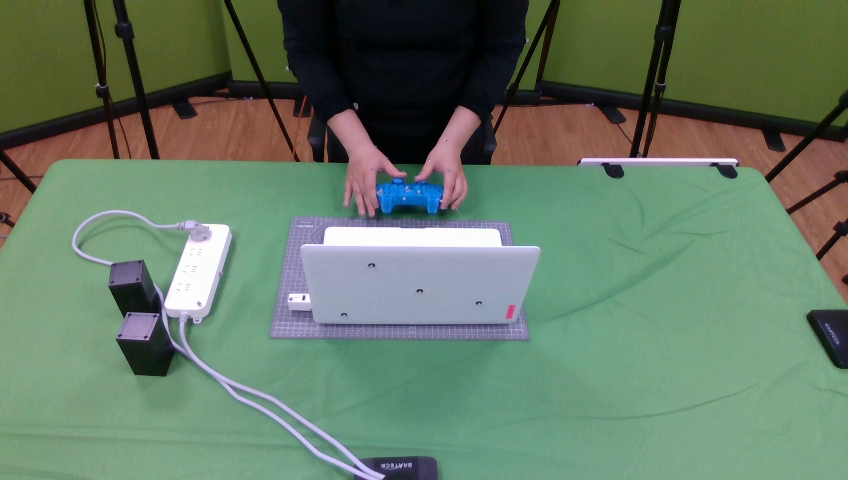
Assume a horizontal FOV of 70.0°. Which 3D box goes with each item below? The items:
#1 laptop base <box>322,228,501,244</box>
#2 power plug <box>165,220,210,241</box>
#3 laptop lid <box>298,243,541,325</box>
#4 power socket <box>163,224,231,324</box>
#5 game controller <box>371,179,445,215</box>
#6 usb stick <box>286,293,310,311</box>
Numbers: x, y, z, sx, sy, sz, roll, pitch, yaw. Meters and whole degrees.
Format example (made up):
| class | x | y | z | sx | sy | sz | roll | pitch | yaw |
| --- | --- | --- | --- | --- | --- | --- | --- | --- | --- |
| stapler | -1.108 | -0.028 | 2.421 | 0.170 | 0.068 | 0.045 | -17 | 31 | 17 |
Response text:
| class | x | y | z | sx | sy | sz | roll | pitch | yaw |
| --- | --- | --- | --- | --- | --- | --- | --- | --- | --- |
| laptop base | -0.020 | 0.063 | 1.136 | 0.355 | 0.023 | 0.234 | 0 | 43 | -4 |
| power plug | -0.440 | -0.015 | 1.143 | 0.072 | 0.053 | 0.035 | 6 | 46 | 8 |
| laptop lid | -0.010 | 0.076 | 0.958 | 0.357 | 0.243 | 0.013 | 1 | 53 | -5 |
| power socket | -0.411 | 0.052 | 1.107 | 0.072 | 0.033 | 0.225 | 3 | 46 | -3 |
| game controller | -0.032 | -0.095 | 1.236 | 0.155 | 0.052 | 0.096 | 0 | 37 | -4 |
| usb stick | -0.210 | 0.109 | 1.059 | 0.059 | 0.027 | 0.021 | 4 | 44 | -6 |
